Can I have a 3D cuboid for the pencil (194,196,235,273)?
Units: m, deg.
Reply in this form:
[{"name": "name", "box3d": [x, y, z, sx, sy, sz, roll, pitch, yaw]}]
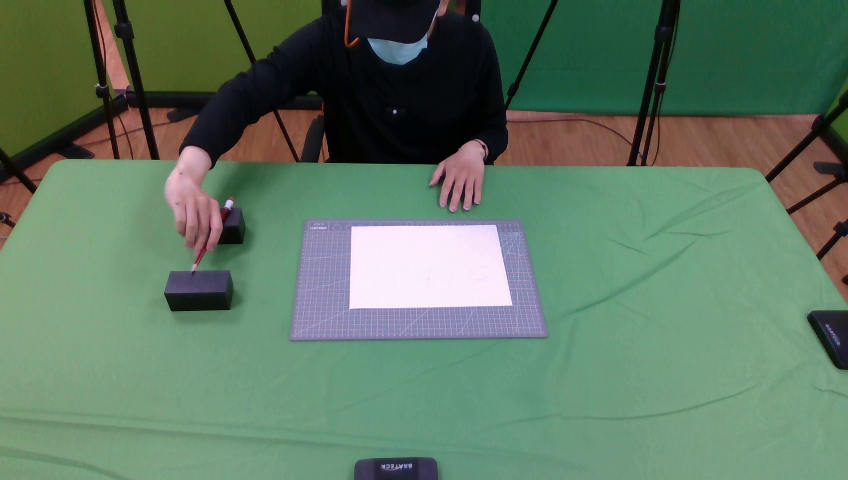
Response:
[{"name": "pencil", "box3d": [-0.387, -0.012, 1.118, 0.012, 0.012, 0.193, 8, 47, 3]}]
